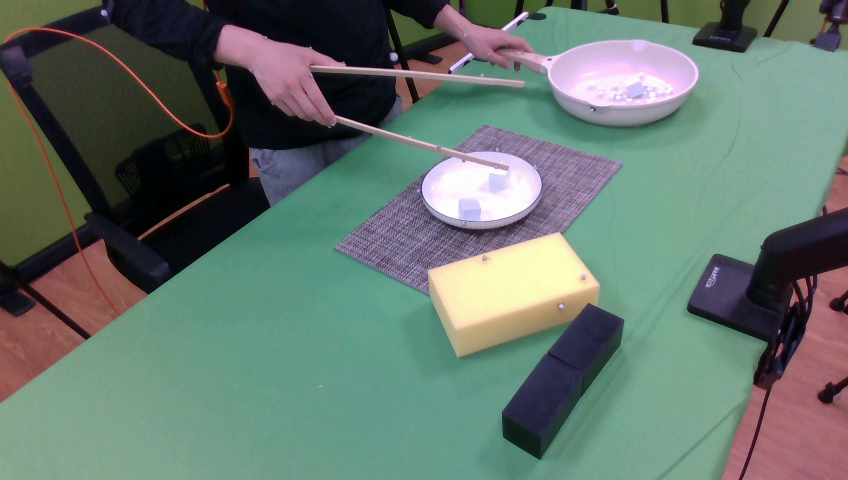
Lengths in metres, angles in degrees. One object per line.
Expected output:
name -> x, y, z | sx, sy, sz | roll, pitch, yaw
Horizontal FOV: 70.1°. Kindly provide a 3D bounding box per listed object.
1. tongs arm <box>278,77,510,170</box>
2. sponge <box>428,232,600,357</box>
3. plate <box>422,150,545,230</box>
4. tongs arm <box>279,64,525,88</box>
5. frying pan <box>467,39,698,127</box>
tongs arm -> -0.047, -0.183, 0.954 | 0.385, 0.026, 0.050 | 14, 86, 0
sponge -> 0.120, 0.071, 0.834 | 0.207, 0.061, 0.117 | -15, 43, -12
plate -> 0.101, -0.082, 1.031 | 0.207, 0.039, 0.206 | -4, 40, 4
tongs arm -> -0.033, -0.257, 0.962 | 0.388, 0.028, 0.028 | 3, -1, -1
frying pan -> 0.312, -0.359, 1.277 | 0.485, 0.103, 0.307 | 23, 48, 19
